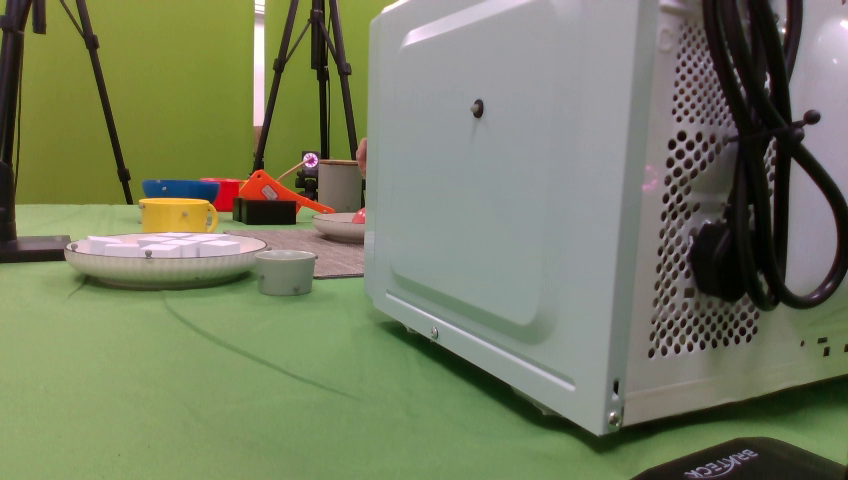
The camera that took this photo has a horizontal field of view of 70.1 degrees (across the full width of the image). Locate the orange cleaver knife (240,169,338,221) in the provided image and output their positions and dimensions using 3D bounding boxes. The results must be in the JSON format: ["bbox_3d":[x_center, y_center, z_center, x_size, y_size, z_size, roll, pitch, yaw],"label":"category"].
[{"bbox_3d":[-0.286,-0.081,1.298,0.212,0.077,0.012,25,-1,-31],"label":"orange cleaver knife"}]

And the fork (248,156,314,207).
[{"bbox_3d":[-0.360,-0.147,1.522,0.207,0.018,0.028,-43,16,-7],"label":"fork"}]

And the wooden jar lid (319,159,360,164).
[{"bbox_3d":[-0.202,-0.189,1.481,0.108,0.020,0.108,2,10,0],"label":"wooden jar lid"}]

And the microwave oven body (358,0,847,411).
[{"bbox_3d":[0.210,-0.051,0.471,0.444,0.260,0.324,-1,7,-28],"label":"microwave oven body"}]

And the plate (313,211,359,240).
[{"bbox_3d":[-0.090,-0.026,1.062,0.209,0.038,0.209,2,7,0],"label":"plate"}]

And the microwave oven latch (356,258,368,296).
[{"bbox_3d":[-0.019,0.031,0.526,0.079,0.029,0.030,-1,7,-23],"label":"microwave oven latch"}]

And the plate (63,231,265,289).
[{"bbox_3d":[-0.288,0.021,0.686,0.208,0.039,0.207,2,8,0],"label":"plate"}]

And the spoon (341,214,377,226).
[{"bbox_3d":[-0.132,-0.048,1.304,0.041,0.021,0.194,-15,3,14],"label":"spoon"}]

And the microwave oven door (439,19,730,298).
[{"bbox_3d":[0.181,-0.076,0.617,0.358,0.243,0.039,-2,8,-28],"label":"microwave oven door"}]

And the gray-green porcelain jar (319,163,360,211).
[{"bbox_3d":[-0.204,-0.126,1.489,0.106,0.126,0.106,2,8,0],"label":"gray-green porcelain jar"}]

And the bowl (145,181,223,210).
[{"bbox_3d":[-0.498,-0.081,1.261,0.151,0.077,0.151,2,7,0],"label":"bowl"}]

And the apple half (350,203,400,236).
[{"bbox_3d":[-0.081,-0.036,1.023,0.081,0.053,0.074,-2,11,-34],"label":"apple half"}]

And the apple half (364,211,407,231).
[{"bbox_3d":[-0.068,-0.037,1.103,0.081,0.033,0.081,-2,9,1],"label":"apple half"}]

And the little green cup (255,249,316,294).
[{"bbox_3d":[-0.144,0.032,0.626,0.061,0.038,0.061,4,7,0],"label":"little green cup"}]

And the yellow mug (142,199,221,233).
[{"bbox_3d":[-0.372,-0.030,0.947,0.099,0.064,0.131,5,7,30],"label":"yellow mug"}]
